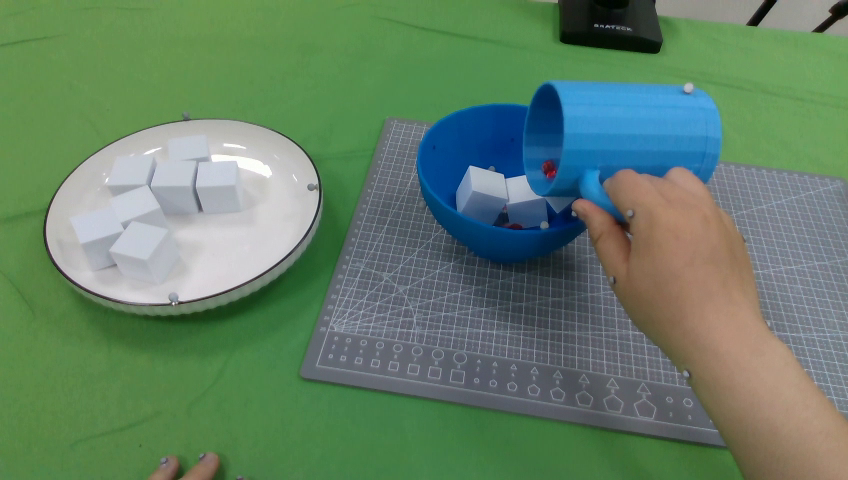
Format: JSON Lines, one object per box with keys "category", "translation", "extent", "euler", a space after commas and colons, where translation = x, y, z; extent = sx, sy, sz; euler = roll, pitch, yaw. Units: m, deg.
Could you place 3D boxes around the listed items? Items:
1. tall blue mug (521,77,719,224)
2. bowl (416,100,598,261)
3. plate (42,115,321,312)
{"category": "tall blue mug", "translation": [0.132, -0.063, 0.400], "extent": [0.108, 0.078, 0.106], "euler": [0, 21, -11]}
{"category": "bowl", "translation": [0.066, -0.037, 0.487], "extent": [0.151, 0.077, 0.150], "euler": [2, 48, -2]}
{"category": "plate", "translation": [-0.187, -0.024, 0.489], "extent": [0.209, 0.038, 0.207], "euler": [3, 49, -2]}
